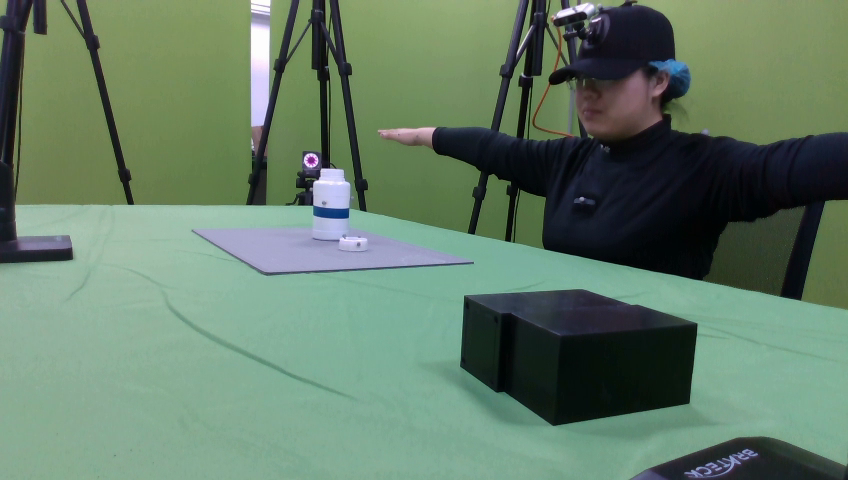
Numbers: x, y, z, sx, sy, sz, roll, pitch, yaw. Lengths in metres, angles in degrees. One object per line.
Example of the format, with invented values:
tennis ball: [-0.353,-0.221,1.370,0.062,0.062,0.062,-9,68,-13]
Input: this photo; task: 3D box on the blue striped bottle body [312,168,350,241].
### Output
blue striped bottle body: [-0.157,-0.062,1.025,0.063,0.120,0.063,3,7,0]

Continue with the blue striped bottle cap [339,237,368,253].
blue striped bottle cap: [-0.107,0.007,0.920,0.044,0.020,0.044,1,7,0]
